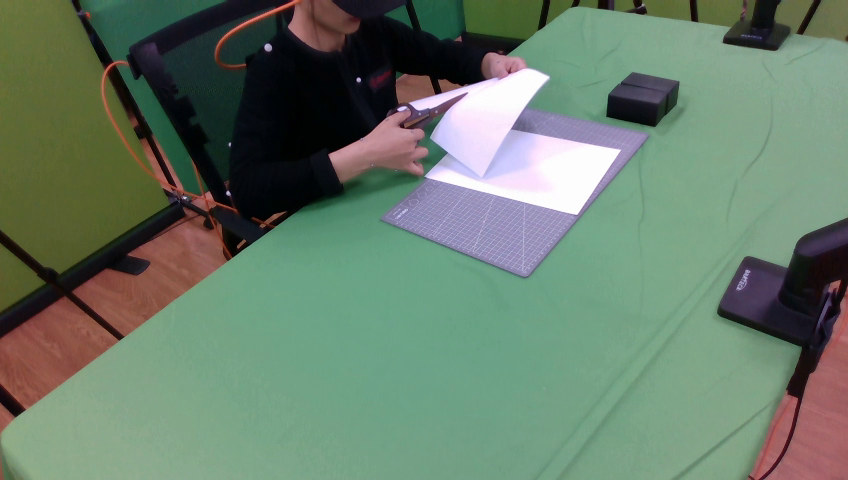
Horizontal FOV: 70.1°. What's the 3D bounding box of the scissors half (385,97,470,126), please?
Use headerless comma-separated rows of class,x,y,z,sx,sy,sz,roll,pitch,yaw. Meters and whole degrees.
scissors half,0.008,-0.249,1.137,0.176,0.040,0.012,-16,27,-18

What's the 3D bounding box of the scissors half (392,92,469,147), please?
scissors half,0.015,-0.231,1.146,0.175,0.040,0.012,-38,27,-7
